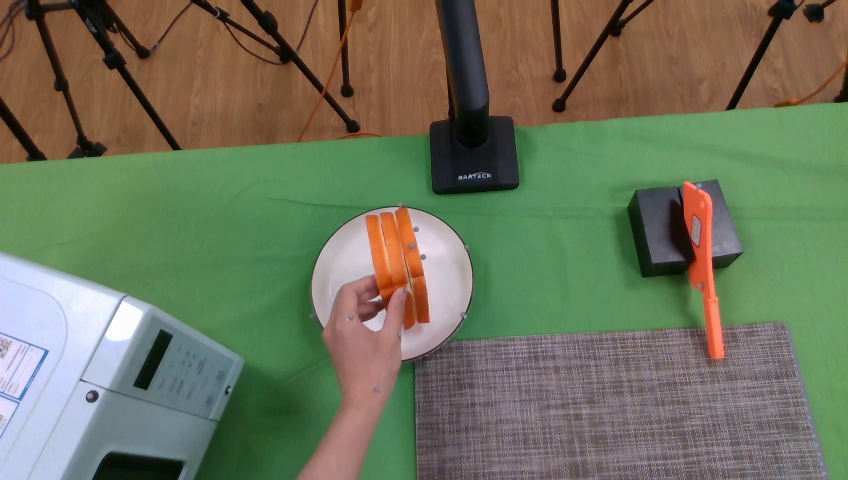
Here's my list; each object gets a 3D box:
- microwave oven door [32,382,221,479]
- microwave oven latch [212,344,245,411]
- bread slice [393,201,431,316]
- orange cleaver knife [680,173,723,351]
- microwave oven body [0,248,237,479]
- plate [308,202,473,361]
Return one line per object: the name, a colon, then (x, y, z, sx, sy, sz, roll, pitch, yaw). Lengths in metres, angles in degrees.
microwave oven door: (-0.322, 0.319, 0.560, 0.039, 0.245, 0.354, 15, 70, 11)
microwave oven latch: (-0.243, 0.162, 0.725, 0.030, 0.030, 0.079, 17, 72, 11)
bread slice: (-0.015, 0.020, 0.715, 0.018, 0.135, 0.106, -14, 61, -4)
orange cleaver knife: (0.328, 0.025, 0.723, 0.012, 0.077, 0.212, -9, 97, 1)
microwave oven body: (-0.447, 0.246, 0.605, 0.325, 0.262, 0.439, 16, 71, 10)
plate: (-0.041, 0.053, 0.771, 0.207, 0.039, 0.206, -1, 68, 4)
